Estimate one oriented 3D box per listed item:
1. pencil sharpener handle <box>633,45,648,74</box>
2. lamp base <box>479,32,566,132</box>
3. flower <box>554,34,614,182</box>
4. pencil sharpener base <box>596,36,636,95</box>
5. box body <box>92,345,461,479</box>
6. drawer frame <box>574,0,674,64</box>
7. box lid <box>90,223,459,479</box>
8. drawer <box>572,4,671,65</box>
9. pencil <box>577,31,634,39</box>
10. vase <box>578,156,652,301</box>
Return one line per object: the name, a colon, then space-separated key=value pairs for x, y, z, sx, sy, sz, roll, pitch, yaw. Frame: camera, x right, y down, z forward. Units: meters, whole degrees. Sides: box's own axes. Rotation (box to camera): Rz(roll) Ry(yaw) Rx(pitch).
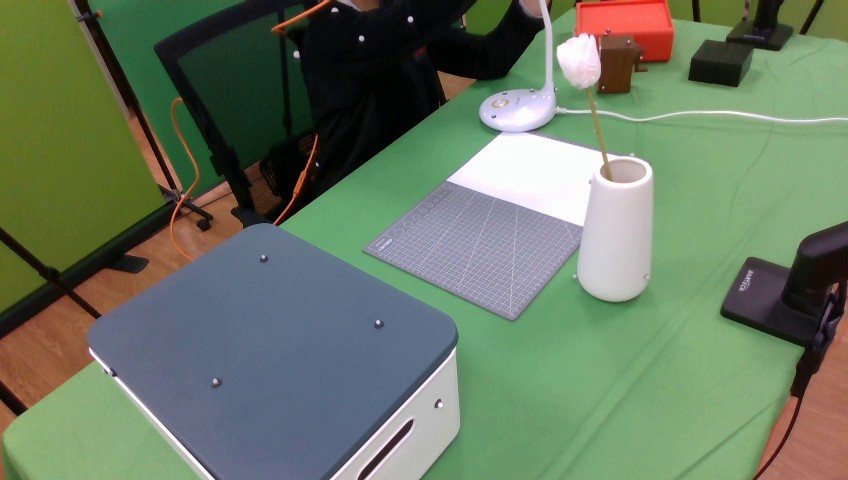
pencil sharpener handle: x=0.454 y=-0.378 z=1.262 sx=0.030 sy=0.068 sz=0.036 roll=1 pitch=47 yaw=13
lamp base: x=0.200 y=-0.332 z=1.218 sx=0.179 sy=0.181 sz=0.160 roll=1 pitch=41 yaw=7
flower: x=0.237 y=-0.083 z=0.774 sx=0.044 sy=0.363 sz=0.038 roll=-22 pitch=26 yaw=6
pencil sharpener base: x=0.406 y=-0.369 z=1.280 sx=0.076 sy=0.107 sz=0.061 roll=1 pitch=41 yaw=13
box body: x=-0.162 y=0.170 z=0.708 sx=0.361 sy=0.161 sz=0.255 roll=25 pitch=50 yaw=34
drawer frame: x=0.464 y=-0.492 z=1.434 sx=0.213 sy=0.083 sz=0.201 roll=1 pitch=40 yaw=12
box lid: x=-0.174 y=0.102 z=0.666 sx=0.368 sy=0.015 sz=0.264 roll=24 pitch=48 yaw=35
drawer: x=0.461 y=-0.490 z=1.434 sx=0.211 sy=0.073 sz=0.194 roll=2 pitch=40 yaw=12
pencil: x=0.430 y=-0.488 z=1.443 sx=0.012 sy=0.012 sz=0.192 roll=-25 pitch=30 yaw=-18
vase: x=0.261 y=-0.011 z=0.812 sx=0.098 sy=0.201 sz=0.097 roll=-4 pitch=40 yaw=4
